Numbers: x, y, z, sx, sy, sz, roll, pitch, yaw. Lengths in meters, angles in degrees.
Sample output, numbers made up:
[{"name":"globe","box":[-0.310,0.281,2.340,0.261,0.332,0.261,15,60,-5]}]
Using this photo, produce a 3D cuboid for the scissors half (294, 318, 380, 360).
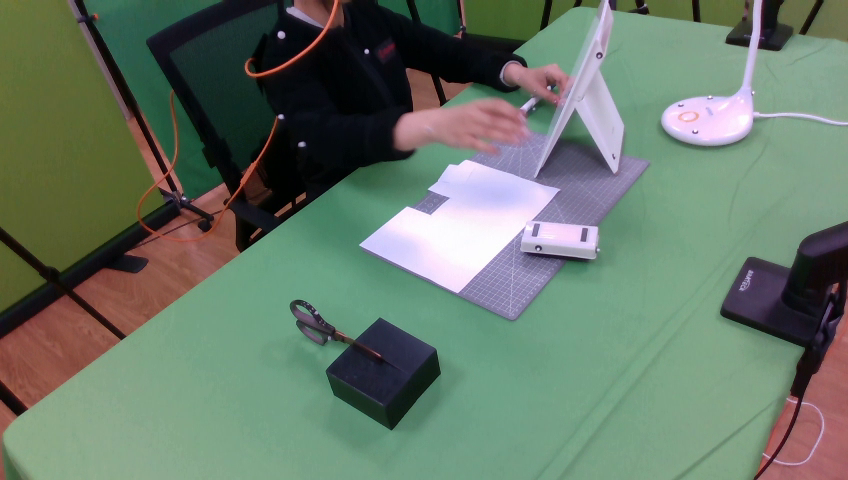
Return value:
[{"name":"scissors half","box":[-0.118,0.135,0.809,0.173,0.040,0.013,9,38,44]}]

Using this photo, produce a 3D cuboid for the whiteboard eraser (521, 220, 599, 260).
[{"name":"whiteboard eraser","box":[0.208,0.001,0.922,0.112,0.042,0.055,6,41,17]}]

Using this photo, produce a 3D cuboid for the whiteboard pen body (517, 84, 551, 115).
[{"name":"whiteboard pen body","box":[0.241,-0.306,1.290,0.017,0.017,0.141,23,51,32]}]

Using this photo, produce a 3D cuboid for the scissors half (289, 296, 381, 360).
[{"name":"scissors half","box":[-0.120,0.117,0.798,0.174,0.040,0.013,27,43,31]}]

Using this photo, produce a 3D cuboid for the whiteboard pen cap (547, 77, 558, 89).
[{"name":"whiteboard pen cap","box":[0.279,-0.341,1.321,0.018,0.018,0.033,22,51,31]}]

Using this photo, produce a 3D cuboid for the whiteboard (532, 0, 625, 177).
[{"name":"whiteboard","box":[0.320,-0.258,1.050,0.144,0.306,0.217,21,45,5]}]

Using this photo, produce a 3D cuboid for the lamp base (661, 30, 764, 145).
[{"name":"lamp base","box":[0.535,-0.287,1.096,0.179,0.181,0.159,-10,40,-4]}]
